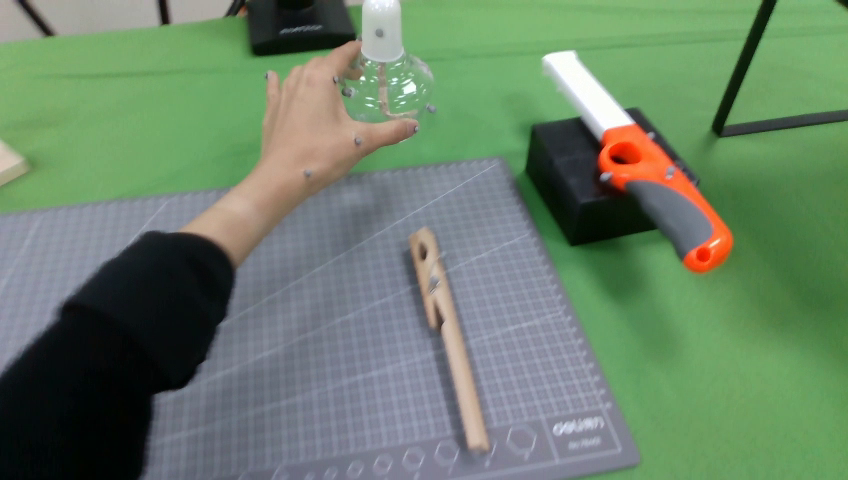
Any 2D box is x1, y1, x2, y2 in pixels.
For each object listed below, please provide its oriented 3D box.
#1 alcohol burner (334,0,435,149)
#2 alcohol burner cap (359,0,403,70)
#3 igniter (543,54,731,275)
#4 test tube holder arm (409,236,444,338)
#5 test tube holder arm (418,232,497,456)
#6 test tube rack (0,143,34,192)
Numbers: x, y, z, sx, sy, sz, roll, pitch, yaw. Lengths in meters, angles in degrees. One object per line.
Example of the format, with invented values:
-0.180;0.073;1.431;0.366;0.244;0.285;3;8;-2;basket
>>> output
-0.030;-0.130;0.457;0.078;0.120;0.077;2;47;-2;alcohol burner
-0.031;-0.151;0.435;0.034;0.048;0.033;2;47;-2;alcohol burner cap
0.158;-0.075;0.483;0.057;0.025;0.273;-12;46;-7;igniter
0.004;0.033;0.448;0.010;0.015;0.087;-33;47;18;test tube holder arm
0.019;0.062;0.417;0.013;0.015;0.176;-33;47;17;test tube holder arm
-0.448;-0.034;0.458;0.066;0.086;0.242;30;53;25;test tube rack
